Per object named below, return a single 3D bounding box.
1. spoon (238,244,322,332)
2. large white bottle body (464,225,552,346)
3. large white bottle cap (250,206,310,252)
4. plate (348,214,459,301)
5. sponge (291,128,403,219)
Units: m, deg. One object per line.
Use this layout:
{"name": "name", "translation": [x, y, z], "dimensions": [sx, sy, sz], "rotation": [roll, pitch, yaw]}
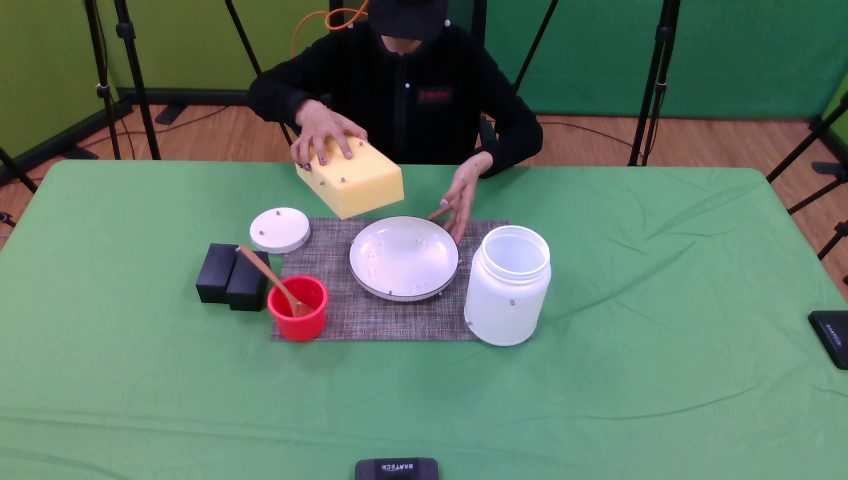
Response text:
{"name": "spoon", "translation": [-0.240, 0.079, 1.015], "dimensions": [0.194, 0.021, 0.041], "rotation": [53, 52, -15]}
{"name": "large white bottle body", "translation": [0.141, 0.076, 1.017], "dimensions": [0.131, 0.185, 0.130], "rotation": [2, 46, -2]}
{"name": "large white bottle cap", "translation": [-0.284, -0.023, 1.197], "dimensions": [0.115, 0.018, 0.114], "rotation": [1, 46, -1]}
{"name": "plate", "translation": [-0.038, 0.036, 1.143], "dimensions": [0.209, 0.038, 0.208], "rotation": [1, 47, -1]}
{"name": "sponge", "translation": [-0.139, -0.122, 1.066], "dimensions": [0.118, 0.061, 0.205], "rotation": [-22, 38, -24]}
